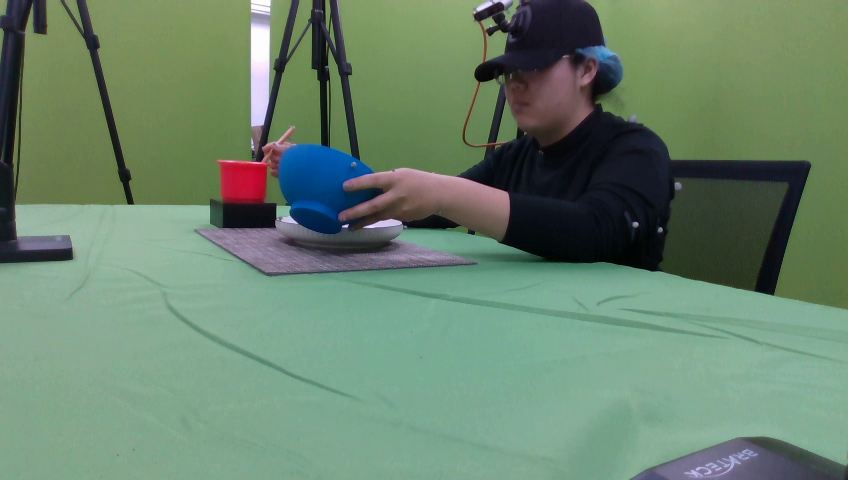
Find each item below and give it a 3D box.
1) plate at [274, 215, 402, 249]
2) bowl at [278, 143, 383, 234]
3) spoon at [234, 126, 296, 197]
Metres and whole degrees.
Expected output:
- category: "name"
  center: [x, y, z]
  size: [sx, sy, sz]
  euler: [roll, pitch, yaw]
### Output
- category: "plate"
  center: [-0.140, -0.015, 0.993]
  size: [0.208, 0.039, 0.207]
  euler: [3, 8, 0]
- category: "bowl"
  center: [-0.140, -0.059, 0.840]
  size: [0.151, 0.077, 0.151]
  euler: [13, -24, 6]
- category: "spoon"
  center: [-0.306, -0.156, 1.182]
  size: [0.041, 0.194, 0.022]
  euler: [9, -30, 40]
